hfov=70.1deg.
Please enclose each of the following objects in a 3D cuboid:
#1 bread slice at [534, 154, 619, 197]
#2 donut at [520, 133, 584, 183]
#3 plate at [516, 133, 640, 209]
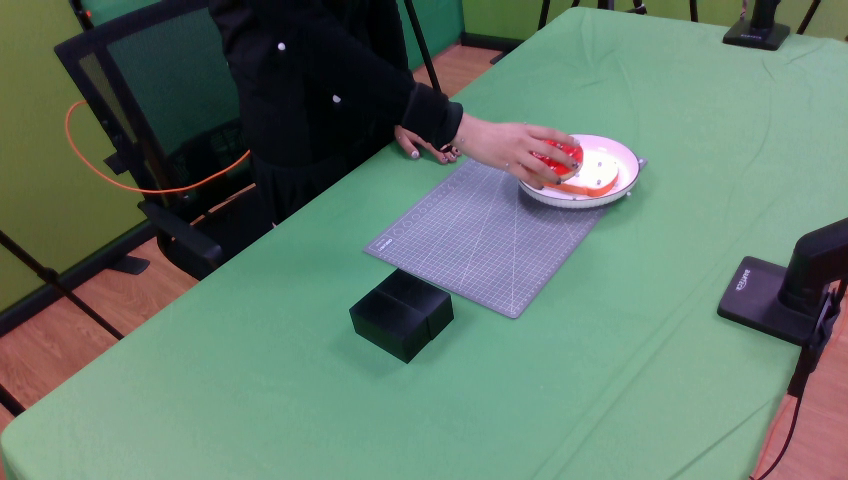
[{"bbox_3d":[0.274,-0.119,1.058,0.130,0.019,0.105,19,48,30],"label":"bread slice"},{"bbox_3d":[0.200,-0.128,0.941,0.099,0.048,0.098,-5,44,5],"label":"donut"},{"bbox_3d":[0.266,-0.117,1.055,0.209,0.038,0.208,-5,40,5],"label":"plate"}]
